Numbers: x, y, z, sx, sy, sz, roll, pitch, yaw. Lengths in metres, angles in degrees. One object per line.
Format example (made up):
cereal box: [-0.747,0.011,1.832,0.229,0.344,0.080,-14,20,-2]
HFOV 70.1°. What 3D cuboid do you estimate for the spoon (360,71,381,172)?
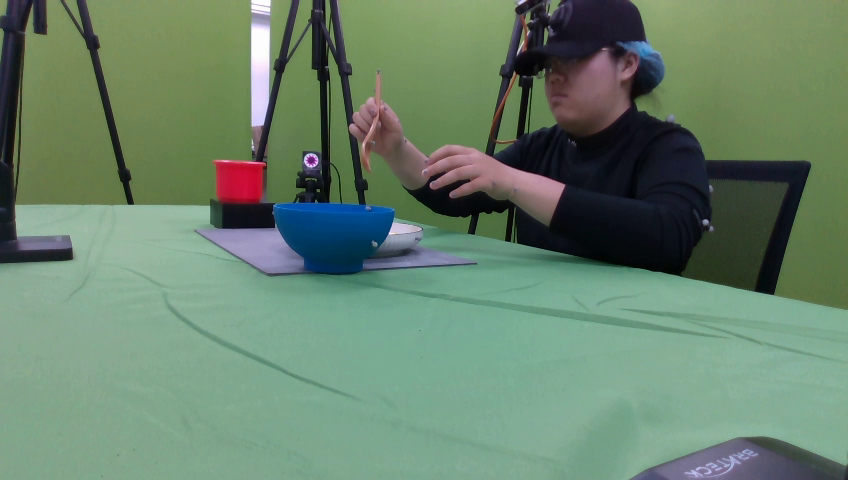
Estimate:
spoon: [-0.083,-0.200,1.002,0.021,0.193,0.042,4,-23,11]

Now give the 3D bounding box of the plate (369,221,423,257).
plate: [-0.105,-0.004,0.922,0.208,0.039,0.207,3,7,0]

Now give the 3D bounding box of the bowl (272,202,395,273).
bowl: [-0.112,-0.003,0.751,0.151,0.077,0.151,3,7,0]
